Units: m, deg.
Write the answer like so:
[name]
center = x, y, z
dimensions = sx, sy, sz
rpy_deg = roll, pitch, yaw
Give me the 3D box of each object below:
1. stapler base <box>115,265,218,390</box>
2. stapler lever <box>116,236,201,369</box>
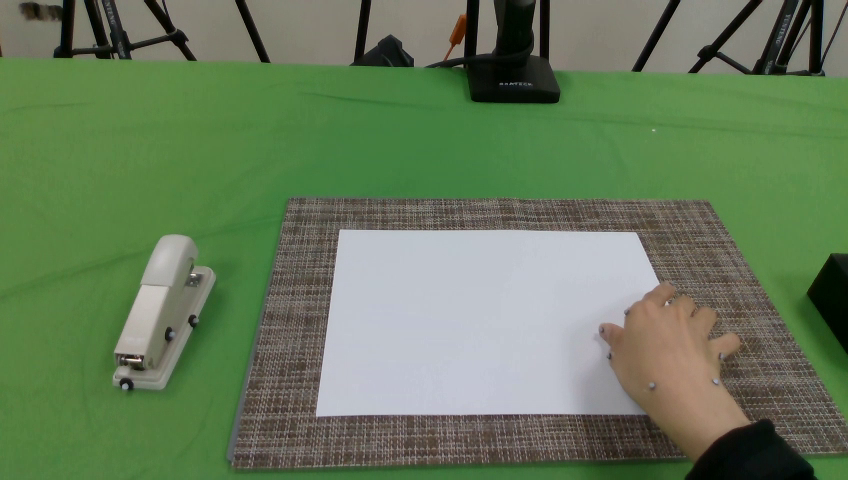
[stapler base]
center = -0.209, 0.062, 0.497
dimensions = 0.041, 0.024, 0.129
rpy_deg = 3, 43, 3
[stapler lever]
center = -0.208, 0.045, 0.479
dimensions = 0.027, 0.040, 0.117
rpy_deg = 3, 43, 3
